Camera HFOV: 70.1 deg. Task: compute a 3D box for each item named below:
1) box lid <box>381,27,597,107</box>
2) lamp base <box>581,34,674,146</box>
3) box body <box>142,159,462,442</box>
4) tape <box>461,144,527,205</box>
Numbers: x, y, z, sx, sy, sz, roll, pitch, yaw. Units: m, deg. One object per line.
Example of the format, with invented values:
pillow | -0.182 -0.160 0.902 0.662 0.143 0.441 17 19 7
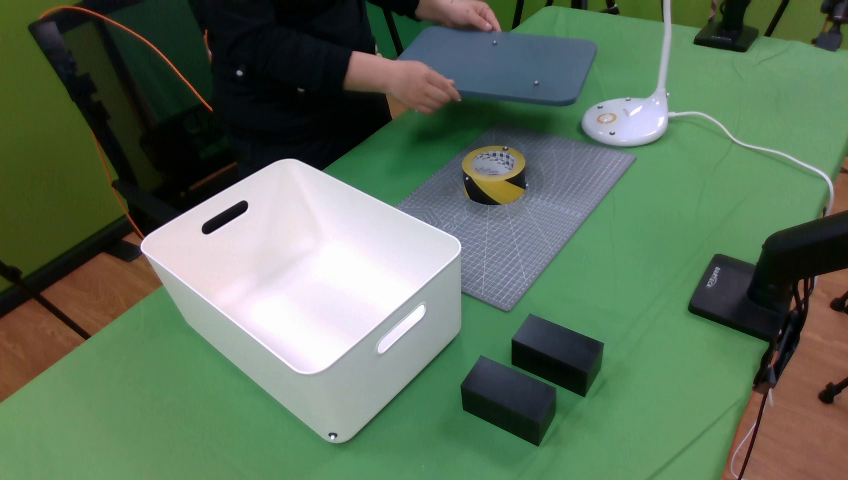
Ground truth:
box lid | 0.129 -0.338 1.155 0.370 0.015 0.263 12 43 18
lamp base | 0.393 -0.291 1.128 0.180 0.181 0.159 -11 41 -8
box body | -0.152 0.063 0.809 0.361 0.161 0.255 27 51 33
tape | 0.124 -0.116 1.058 0.117 0.053 0.116 -4 42 4
